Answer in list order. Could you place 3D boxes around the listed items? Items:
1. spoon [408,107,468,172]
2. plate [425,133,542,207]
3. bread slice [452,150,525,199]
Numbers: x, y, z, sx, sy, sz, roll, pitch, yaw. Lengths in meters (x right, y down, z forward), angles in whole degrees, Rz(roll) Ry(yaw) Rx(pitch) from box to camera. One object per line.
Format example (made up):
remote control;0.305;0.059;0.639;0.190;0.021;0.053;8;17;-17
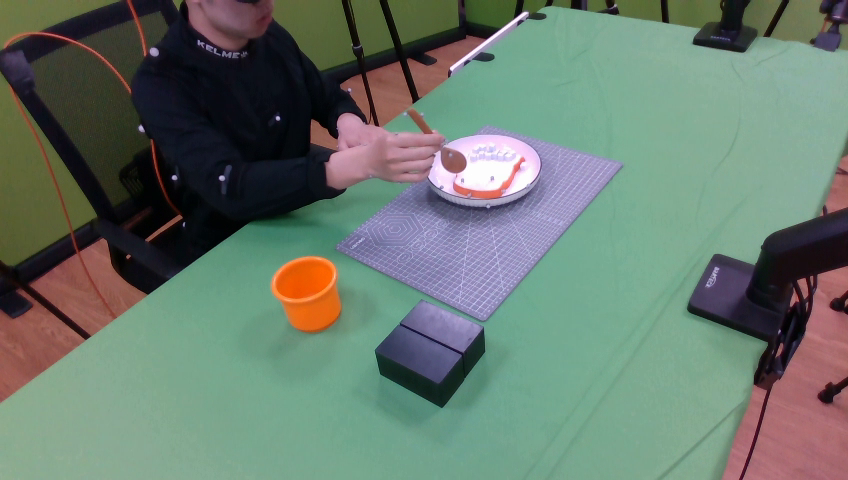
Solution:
spoon;0.023;-0.154;0.944;0.041;0.195;0.021;-25;65;15
plate;0.106;-0.121;1.079;0.209;0.038;0.208;-4;41;4
bread slice;0.112;-0.119;1.079;0.104;0.019;0.131;11;43;21
